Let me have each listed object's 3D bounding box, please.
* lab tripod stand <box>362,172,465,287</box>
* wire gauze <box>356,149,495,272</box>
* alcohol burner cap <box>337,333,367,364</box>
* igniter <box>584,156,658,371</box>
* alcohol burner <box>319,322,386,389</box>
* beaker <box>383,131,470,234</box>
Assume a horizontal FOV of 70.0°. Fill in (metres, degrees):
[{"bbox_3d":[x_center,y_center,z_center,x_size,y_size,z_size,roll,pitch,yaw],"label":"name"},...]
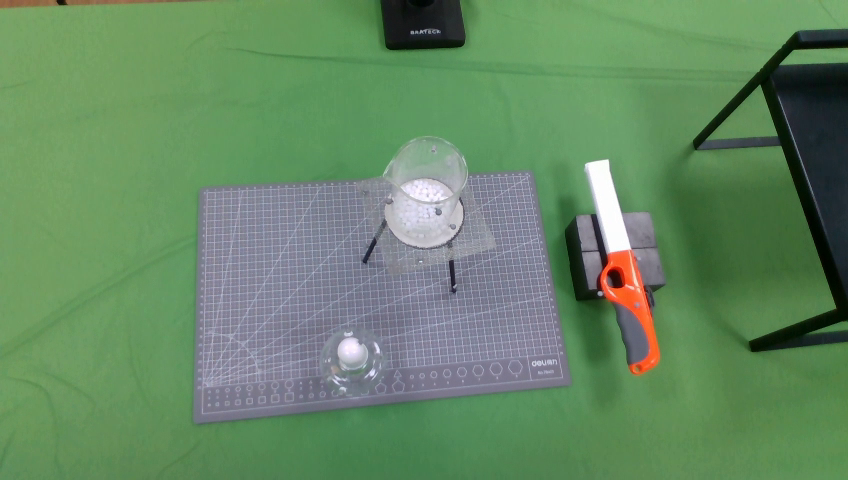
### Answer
[{"bbox_3d":[-0.004,-0.017,0.730,0.148,0.132,0.147,2,68,-4],"label":"lab tripod stand"},{"bbox_3d":[0.002,-0.034,0.666,0.125,0.011,0.120,-16,73,-13],"label":"wire gauze"},{"bbox_3d":[-0.079,0.114,0.648,0.034,0.048,0.033,1,72,-3],"label":"alcohol burner cap"},{"bbox_3d":[0.242,0.022,0.751,0.057,0.025,0.274,-9,70,3],"label":"igniter"},{"bbox_3d":[-0.081,0.127,0.681,0.078,0.119,0.077,2,71,-5],"label":"alcohol burner"},{"bbox_3d":[-0.001,-0.053,0.622,0.084,0.101,0.073,-5,69,-7],"label":"beaker"}]
